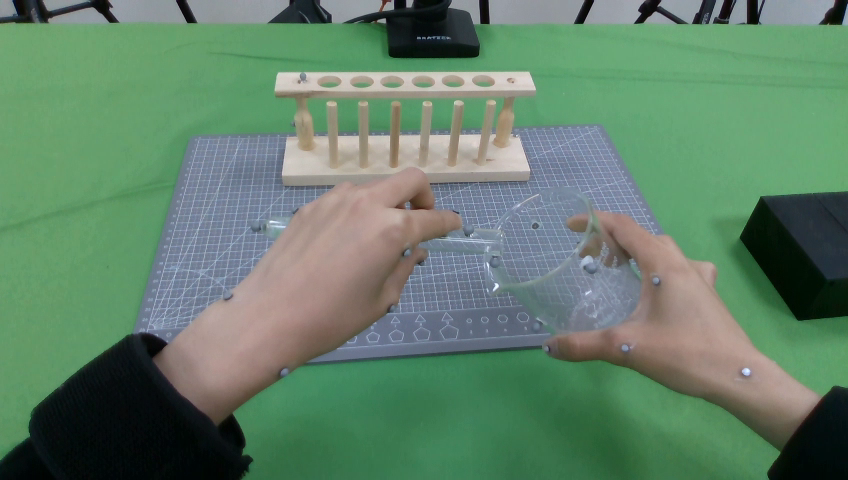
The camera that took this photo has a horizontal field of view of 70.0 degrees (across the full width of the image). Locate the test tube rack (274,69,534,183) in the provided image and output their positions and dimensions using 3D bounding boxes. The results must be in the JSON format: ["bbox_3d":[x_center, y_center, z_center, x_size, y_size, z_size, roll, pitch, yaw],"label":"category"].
[{"bbox_3d":[-0.017,-0.111,0.589,0.243,0.086,0.066,-2,45,-5],"label":"test tube rack"}]

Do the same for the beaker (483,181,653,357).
[{"bbox_3d":[0.094,0.025,0.388,0.084,0.101,0.073,-47,33,-1],"label":"beaker"}]

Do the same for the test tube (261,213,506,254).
[{"bbox_3d":[-0.026,-0.005,0.365,0.150,0.017,0.017,4,44,8],"label":"test tube"}]
